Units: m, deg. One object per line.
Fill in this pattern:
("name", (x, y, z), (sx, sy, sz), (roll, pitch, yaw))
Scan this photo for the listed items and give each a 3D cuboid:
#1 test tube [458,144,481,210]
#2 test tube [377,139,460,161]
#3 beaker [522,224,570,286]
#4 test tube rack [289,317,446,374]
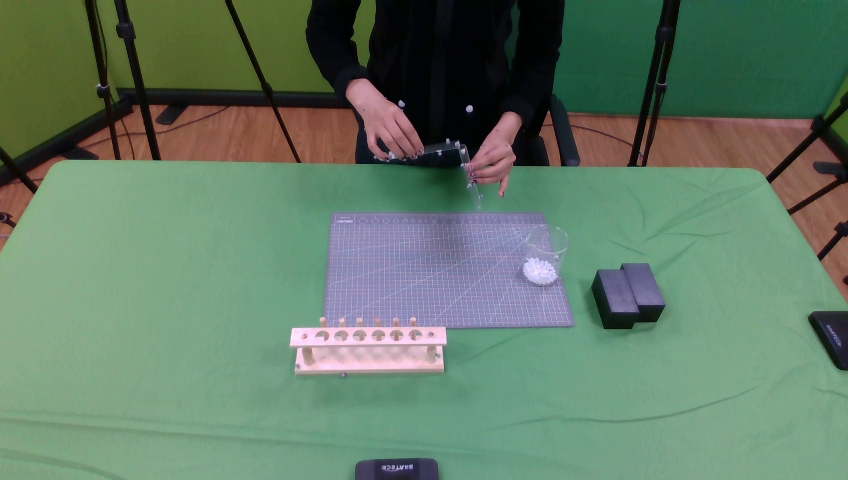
("test tube", (0.086, -0.114, 1.128), (0.017, 0.151, 0.017), (-11, 40, 10))
("test tube", (-0.010, -0.160, 1.081), (0.150, 0.017, 0.017), (-9, 46, 3))
("beaker", (0.221, 0.032, 1.129), (0.084, 0.101, 0.073), (-6, 46, -9))
("test tube rack", (-0.089, 0.167, 0.988), (0.242, 0.085, 0.066), (0, 46, -4))
